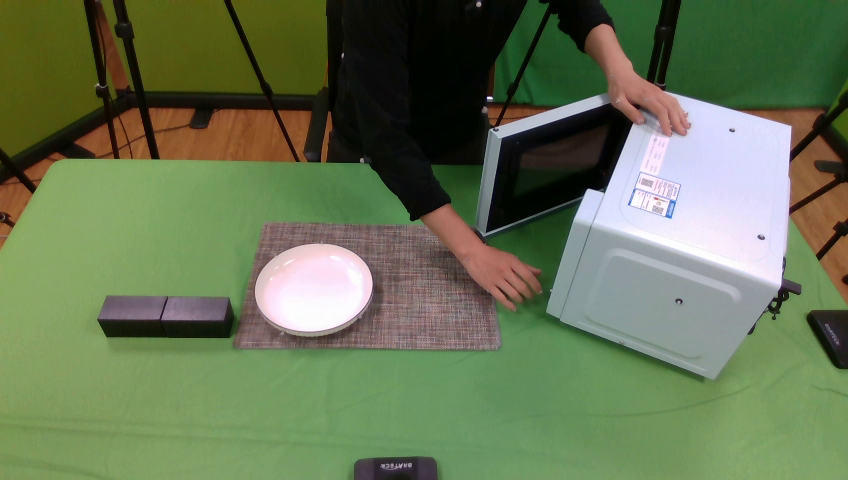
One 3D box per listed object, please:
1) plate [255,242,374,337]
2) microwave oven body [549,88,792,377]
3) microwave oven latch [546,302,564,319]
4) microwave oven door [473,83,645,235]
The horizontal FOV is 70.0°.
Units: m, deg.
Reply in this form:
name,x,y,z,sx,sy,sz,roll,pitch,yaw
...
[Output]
name,x,y,z,sx,sy,sz,roll,pitch,yaw
plate,-0.192,0.090,1.079,0.208,0.039,0.206,2,46,-2
microwave oven body,0.456,-0.028,1.088,0.325,0.261,0.440,20,47,16
microwave oven latch,0.242,0.102,1.081,0.030,0.029,0.079,22,48,18
microwave oven door,0.266,-0.160,1.194,0.356,0.245,0.039,-21,51,-22
